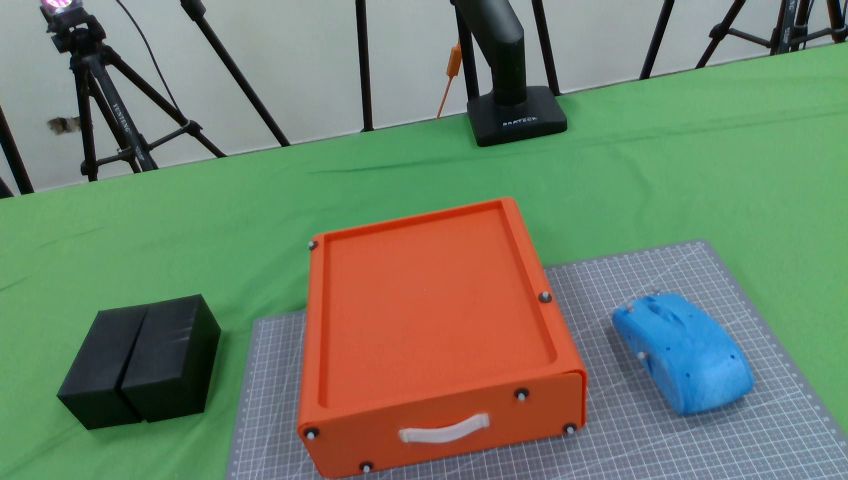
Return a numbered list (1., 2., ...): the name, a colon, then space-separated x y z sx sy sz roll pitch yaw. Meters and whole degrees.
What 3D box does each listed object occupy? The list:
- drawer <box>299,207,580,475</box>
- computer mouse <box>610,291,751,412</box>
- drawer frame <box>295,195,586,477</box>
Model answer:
1. drawer: 0.004 0.071 0.504 0.194 0.074 0.209 -12 39 1
2. computer mouse: 0.199 0.080 0.480 0.063 0.041 0.116 -17 35 -3
3. drawer frame: 0.004 0.069 0.506 0.202 0.083 0.211 -12 38 0
